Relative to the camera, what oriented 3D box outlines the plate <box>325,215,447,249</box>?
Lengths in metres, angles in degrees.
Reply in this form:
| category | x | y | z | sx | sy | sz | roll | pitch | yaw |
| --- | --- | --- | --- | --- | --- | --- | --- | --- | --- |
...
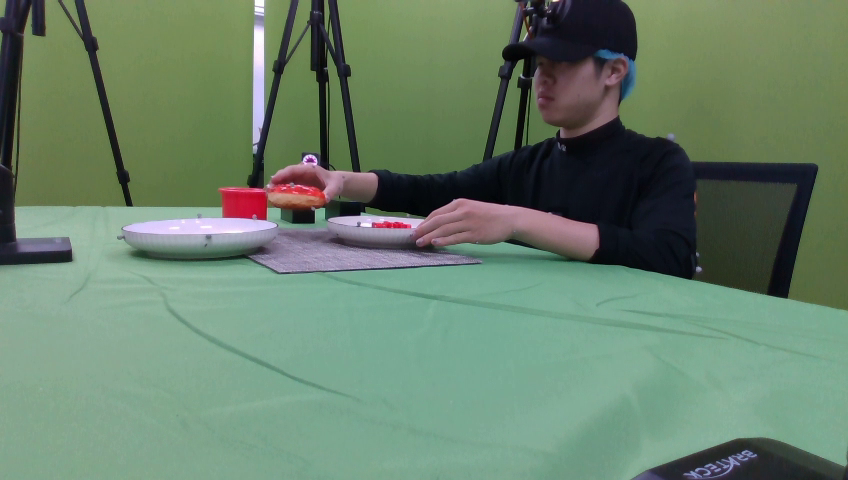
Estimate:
| category | x | y | z | sx | sy | sz | roll | pitch | yaw |
| --- | --- | --- | --- | --- | --- | --- | --- | --- | --- |
| plate | -0.065 | -0.015 | 1.035 | 0.209 | 0.038 | 0.209 | 3 | 8 | 0 |

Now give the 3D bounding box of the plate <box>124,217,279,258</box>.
| category | x | y | z | sx | sy | sz | roll | pitch | yaw |
| --- | --- | --- | --- | --- | --- | --- | --- | --- | --- |
| plate | -0.315 | -0.004 | 0.871 | 0.208 | 0.039 | 0.207 | 1 | 8 | 0 |

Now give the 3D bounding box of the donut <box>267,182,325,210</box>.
| category | x | y | z | sx | sy | sz | roll | pitch | yaw |
| --- | --- | --- | --- | --- | --- | --- | --- | --- | --- |
| donut | -0.220 | -0.075 | 1.045 | 0.099 | 0.048 | 0.099 | 3 | 5 | 0 |

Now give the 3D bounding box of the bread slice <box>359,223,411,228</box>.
| category | x | y | z | sx | sy | sz | roll | pitch | yaw |
| --- | --- | --- | --- | --- | --- | --- | --- | --- | --- |
| bread slice | -0.062 | -0.012 | 1.034 | 0.105 | 0.019 | 0.131 | 1 | 9 | -19 |

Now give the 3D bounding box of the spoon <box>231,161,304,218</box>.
| category | x | y | z | sx | sy | sz | roll | pitch | yaw |
| --- | --- | --- | --- | --- | --- | --- | --- | --- | --- |
| spoon | -0.314 | -0.096 | 1.192 | 0.194 | 0.022 | 0.041 | -42 | 13 | -5 |
